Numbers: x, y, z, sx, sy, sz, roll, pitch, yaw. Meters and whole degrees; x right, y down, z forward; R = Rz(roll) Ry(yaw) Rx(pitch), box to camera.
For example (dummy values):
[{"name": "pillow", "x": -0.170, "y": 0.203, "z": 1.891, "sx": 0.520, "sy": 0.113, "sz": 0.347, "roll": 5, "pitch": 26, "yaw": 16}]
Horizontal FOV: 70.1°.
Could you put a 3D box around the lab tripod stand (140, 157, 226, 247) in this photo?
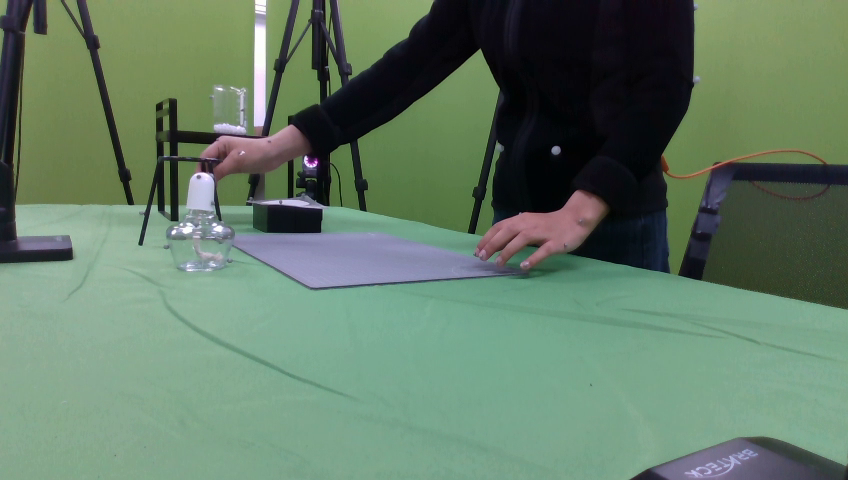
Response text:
[{"name": "lab tripod stand", "x": -0.353, "y": -0.060, "z": 0.920, "sx": 0.148, "sy": 0.131, "sz": 0.148, "roll": 0, "pitch": 6, "yaw": 0}]

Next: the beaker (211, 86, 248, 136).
[{"name": "beaker", "x": -0.413, "y": -0.274, "z": 1.297, "sx": 0.074, "sy": 0.100, "sz": 0.083, "roll": -5, "pitch": 11, "yaw": -44}]

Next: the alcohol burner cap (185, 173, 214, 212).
[{"name": "alcohol burner cap", "x": -0.269, "y": -0.057, "z": 0.730, "sx": 0.034, "sy": 0.048, "sz": 0.034, "roll": 5, "pitch": 2, "yaw": 0}]

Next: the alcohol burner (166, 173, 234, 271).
[{"name": "alcohol burner", "x": -0.272, "y": -0.022, "z": 0.735, "sx": 0.078, "sy": 0.119, "sz": 0.078, "roll": 2, "pitch": 5, "yaw": 0}]

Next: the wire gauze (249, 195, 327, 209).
[{"name": "wire gauze", "x": -0.260, "y": -0.071, "z": 1.138, "sx": 0.126, "sy": 0.011, "sz": 0.121, "roll": -3, "pitch": 12, "yaw": -27}]
